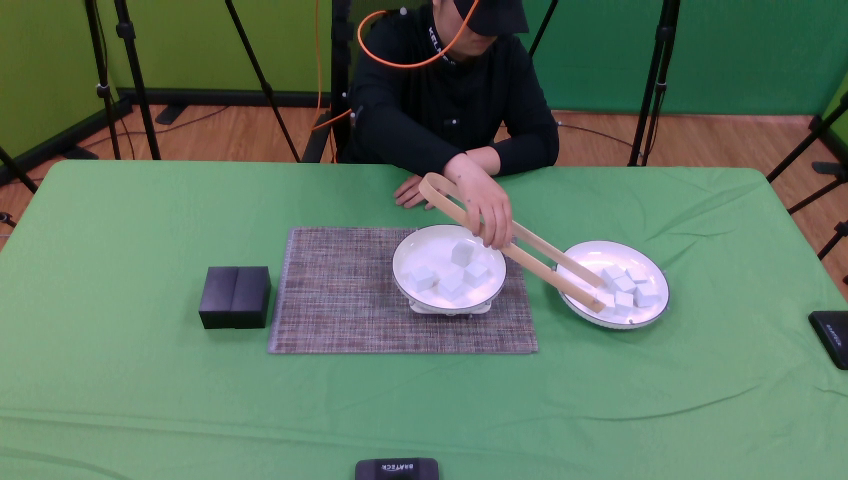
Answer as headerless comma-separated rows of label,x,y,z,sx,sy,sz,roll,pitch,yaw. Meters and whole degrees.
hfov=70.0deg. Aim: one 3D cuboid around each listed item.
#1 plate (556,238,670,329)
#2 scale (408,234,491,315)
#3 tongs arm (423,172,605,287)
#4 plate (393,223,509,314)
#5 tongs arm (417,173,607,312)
plate,0.347,0.083,1.129,0.209,0.038,0.208,2,47,-2
scale,0.045,0.055,1.135,0.149,0.032,0.199,1,46,-3
tongs arm,0.162,-0.016,1.081,0.388,0.028,0.028,30,38,-10
plate,0.048,0.053,1.091,0.208,0.039,0.206,1,46,-1
tongs arm,0.153,0.007,1.043,0.385,0.026,0.050,32,34,-8
